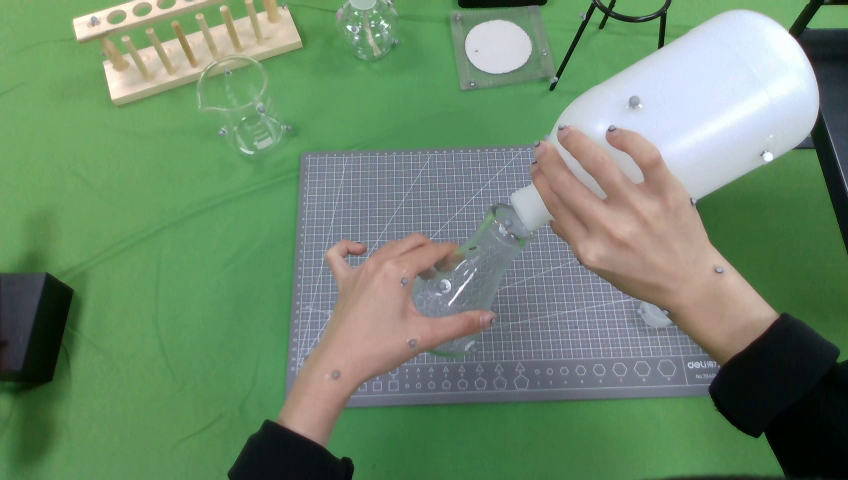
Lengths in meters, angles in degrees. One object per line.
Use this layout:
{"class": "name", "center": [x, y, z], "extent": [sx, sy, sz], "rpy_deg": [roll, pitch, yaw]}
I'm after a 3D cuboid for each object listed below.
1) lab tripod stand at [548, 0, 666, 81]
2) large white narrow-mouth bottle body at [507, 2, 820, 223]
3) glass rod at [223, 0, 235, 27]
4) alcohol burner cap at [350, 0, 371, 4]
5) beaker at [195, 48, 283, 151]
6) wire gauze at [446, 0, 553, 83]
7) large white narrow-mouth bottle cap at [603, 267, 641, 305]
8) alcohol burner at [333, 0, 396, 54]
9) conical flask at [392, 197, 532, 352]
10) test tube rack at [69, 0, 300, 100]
{"class": "lab tripod stand", "center": [0.223, -0.249, 0.704], "extent": [0.148, 0.132, 0.147], "rpy_deg": [1, 66, -1]}
{"class": "large white narrow-mouth bottle body", "center": [0.147, -0.069, 0.411], "extent": [0.194, 0.102, 0.101], "rpy_deg": [-29, 68, 6]}
{"class": "glass rod", "center": [-0.239, -0.320, 0.693], "extent": [0.008, 0.201, 0.008], "rpy_deg": [2, 64, -3]}
{"class": "alcohol burner cap", "center": [-0.075, -0.302, 0.702], "extent": [0.034, 0.048, 0.033], "rpy_deg": [3, 65, -7]}
{"class": "beaker", "center": [-0.207, -0.152, 0.686], "extent": [0.084, 0.101, 0.073], "rpy_deg": [-42, 71, -15]}
{"class": "wire gauze", "center": [0.095, -0.259, 0.777], "extent": [0.121, 0.011, 0.124], "rpy_deg": [-6, 67, -3]}
{"class": "large white narrow-mouth bottle cap", "center": [0.208, 0.049, 0.637], "extent": [0.038, 0.024, 0.037], "rpy_deg": [-1, 66, 3]}
{"class": "alcohol burner", "center": [-0.074, -0.286, 0.734], "extent": [0.078, 0.120, 0.077], "rpy_deg": [0, 64, 0]}
{"class": "conical flask", "center": [0.033, 0.023, 0.456], "extent": [0.076, 0.122, 0.074], "rpy_deg": [22, 37, -17]}
{"class": "test tube rack", "center": [-0.285, -0.259, 0.741], "extent": [0.242, 0.086, 0.066], "rpy_deg": [-21, 68, -8]}
